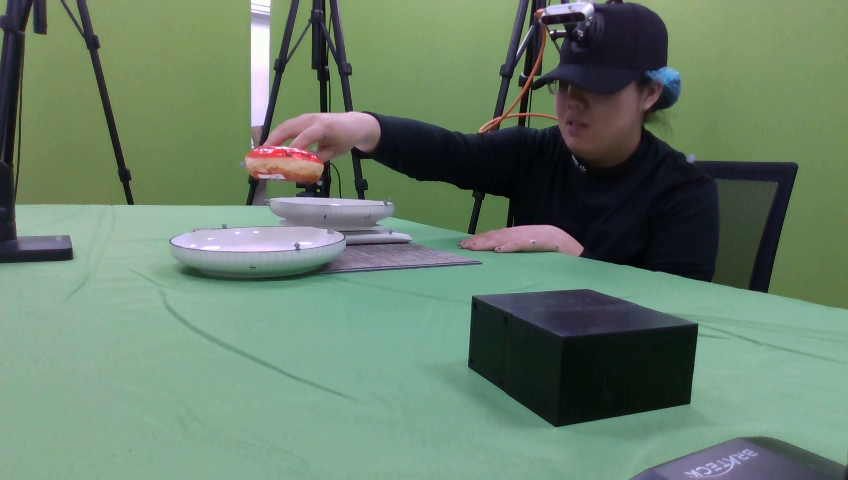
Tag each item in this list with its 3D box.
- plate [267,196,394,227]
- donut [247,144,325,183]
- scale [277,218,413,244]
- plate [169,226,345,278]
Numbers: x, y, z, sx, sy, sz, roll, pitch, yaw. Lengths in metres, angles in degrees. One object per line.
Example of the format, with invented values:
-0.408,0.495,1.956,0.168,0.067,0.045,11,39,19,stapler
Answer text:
-0.152,-0.047,0.998,0.208,0.039,0.207,2,7,0,plate
-0.177,-0.096,0.778,0.099,0.048,0.099,4,1,0,donut
-0.134,-0.016,1.015,0.202,0.031,0.148,-1,9,-33,scale
-0.202,0.014,0.748,0.209,0.038,0.209,1,9,0,plate
